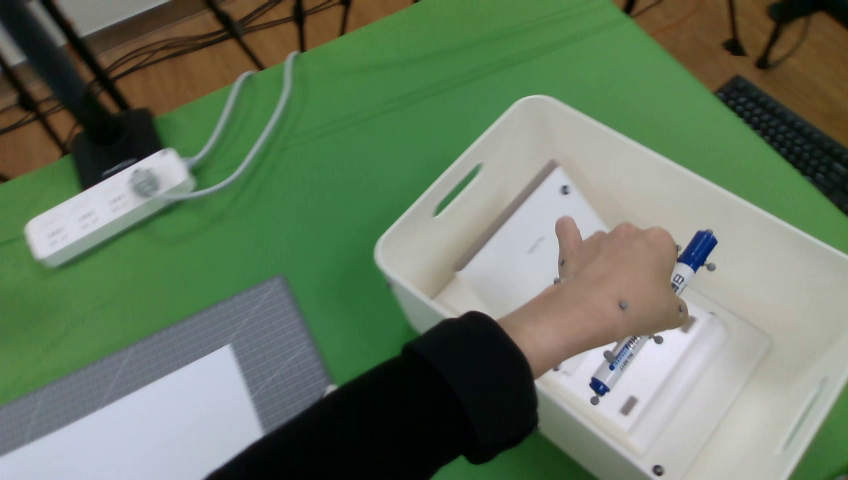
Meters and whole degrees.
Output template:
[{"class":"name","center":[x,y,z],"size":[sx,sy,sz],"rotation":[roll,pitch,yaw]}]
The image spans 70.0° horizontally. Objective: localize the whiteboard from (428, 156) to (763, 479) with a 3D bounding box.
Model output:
[{"class":"whiteboard","center":[0.163,0.057,0.597],"size":[0.303,0.145,0.217],"rotation":[34,67,24]}]

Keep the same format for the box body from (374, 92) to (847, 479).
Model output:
[{"class":"box body","center":[0.169,0.060,0.581],"size":[0.361,0.162,0.254],"rotation":[36,70,23]}]

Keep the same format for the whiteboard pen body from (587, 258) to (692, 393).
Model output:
[{"class":"whiteboard pen body","center":[0.163,0.051,0.436],"size":[0.017,0.017,0.140],"rotation":[35,76,24]}]

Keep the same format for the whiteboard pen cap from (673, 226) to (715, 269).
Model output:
[{"class":"whiteboard pen cap","center":[0.200,0.007,0.450],"size":[0.018,0.018,0.033],"rotation":[34,78,24]}]

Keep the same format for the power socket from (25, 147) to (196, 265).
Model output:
[{"class":"power socket","center":[-0.404,-0.046,0.785],"size":[0.227,0.033,0.071],"rotation":[-31,62,-12]}]

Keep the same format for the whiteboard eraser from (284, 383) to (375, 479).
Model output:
[{"class":"whiteboard eraser","center":[-0.093,0.203,0.598],"size":[0.055,0.042,0.112],"rotation":[13,63,15]}]

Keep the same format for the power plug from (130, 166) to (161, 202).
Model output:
[{"class":"power plug","center":[-0.347,-0.062,0.761],"size":[0.035,0.053,0.072],"rotation":[-22,66,-6]}]
